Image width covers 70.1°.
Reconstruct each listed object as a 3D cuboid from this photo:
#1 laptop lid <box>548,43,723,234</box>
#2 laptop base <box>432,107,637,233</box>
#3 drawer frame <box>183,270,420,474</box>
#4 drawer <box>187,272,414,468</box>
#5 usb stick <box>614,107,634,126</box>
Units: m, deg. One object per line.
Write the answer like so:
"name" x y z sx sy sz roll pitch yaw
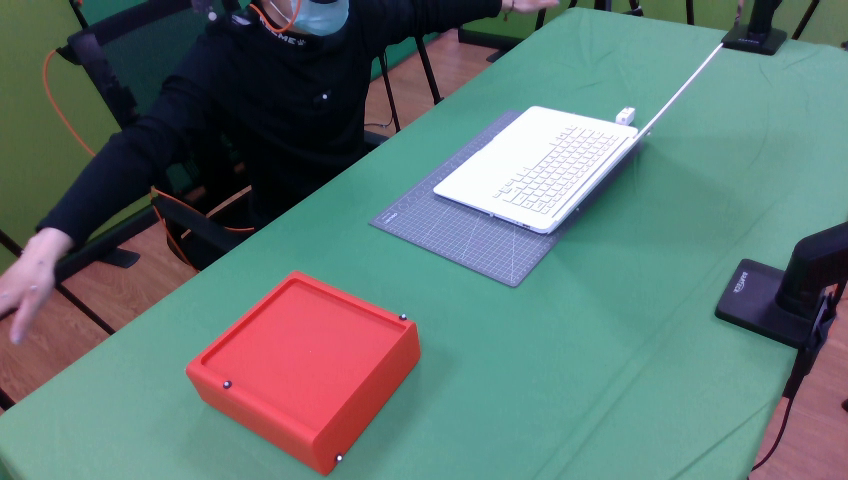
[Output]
"laptop lid" 0.335 -0.160 0.955 0.013 0.241 0.358 42 54 8
"laptop base" 0.210 -0.142 1.111 0.233 0.023 0.355 21 48 33
"drawer frame" -0.149 0.153 0.767 0.212 0.083 0.202 20 46 27
"drawer" -0.150 0.154 0.768 0.210 0.073 0.195 20 46 28
"usb stick" 0.385 -0.234 1.174 0.021 0.027 0.059 22 47 30
